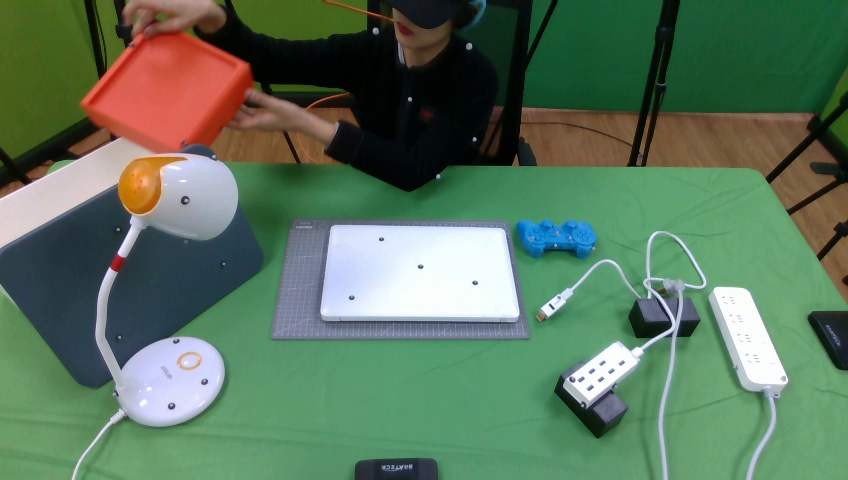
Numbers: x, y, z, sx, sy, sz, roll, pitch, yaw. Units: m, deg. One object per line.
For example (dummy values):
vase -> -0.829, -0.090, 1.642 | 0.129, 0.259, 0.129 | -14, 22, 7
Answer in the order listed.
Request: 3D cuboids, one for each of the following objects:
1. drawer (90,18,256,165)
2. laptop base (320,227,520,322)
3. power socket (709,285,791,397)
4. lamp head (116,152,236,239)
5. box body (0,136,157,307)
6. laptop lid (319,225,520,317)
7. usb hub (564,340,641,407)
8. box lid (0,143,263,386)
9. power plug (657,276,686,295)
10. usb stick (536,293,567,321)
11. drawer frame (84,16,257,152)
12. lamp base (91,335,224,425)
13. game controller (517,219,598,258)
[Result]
drawer -> -0.442, -0.266, 1.086 | 0.194, 0.073, 0.211 | 27, 68, 1
laptop base -> -0.008, 0.062, 1.138 | 0.354, 0.023, 0.234 | 0, 42, -3
power socket -> 0.567, 0.167, 1.064 | 0.072, 0.033, 0.225 | 2, 46, 0
lamp head -> -0.315, -0.057, 0.748 | 0.112, 0.112, 0.123 | 26, 10, 20
box body -> -0.551, -0.007, 1.068 | 0.253, 0.161, 0.363 | 30, 51, 23
laptop lid -> -0.008, 0.052, 1.131 | 0.357, 0.013, 0.240 | 2, 44, -2
usb hub -> 0.278, 0.205, 0.944 | 0.125, 0.025, 0.049 | -27, 52, -28
box lid -> -0.444, 0.032, 0.979 | 0.015, 0.264, 0.371 | 13, 42, 41
power plug -> 0.450, 0.087, 1.113 | 0.073, 0.052, 0.035 | -12, 71, -55
usb stick -> 0.226, 0.122, 1.083 | 0.059, 0.027, 0.021 | -38, 77, -8
drawer frame -> -0.443, -0.265, 1.084 | 0.201, 0.083, 0.213 | 26, 68, 2
lamp base -> -0.401, 0.171, 0.892 | 0.160, 0.181, 0.179 | 30, 53, 23
game controller -> 0.269, -0.012, 1.210 | 0.155, 0.052, 0.096 | 1, 50, -2
